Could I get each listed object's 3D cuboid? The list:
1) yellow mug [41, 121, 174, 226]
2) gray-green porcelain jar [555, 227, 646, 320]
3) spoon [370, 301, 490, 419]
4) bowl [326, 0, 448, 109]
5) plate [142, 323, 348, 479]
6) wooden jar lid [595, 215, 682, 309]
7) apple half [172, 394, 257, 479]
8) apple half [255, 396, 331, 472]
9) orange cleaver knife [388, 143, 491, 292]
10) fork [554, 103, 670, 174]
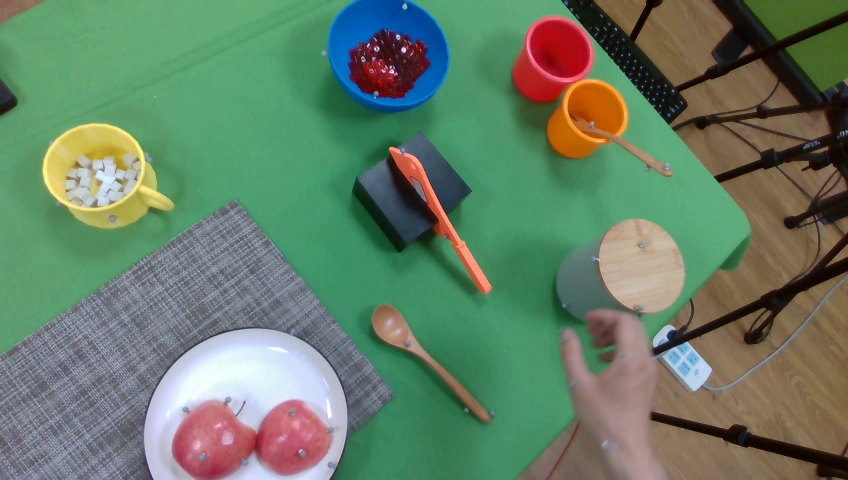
[{"bbox_3d":[-0.339,-0.066,0.668,0.131,0.064,0.099,23,72,-7],"label":"yellow mug"},{"bbox_3d":[0.227,0.042,0.743,0.106,0.126,0.105,3,75,-12],"label":"gray-green porcelain jar"},{"bbox_3d":[0.009,0.146,0.720,0.193,0.022,0.041,43,48,0],"label":"spoon"},{"bbox_3d":[-0.052,-0.225,0.768,0.152,0.077,0.150,3,76,-12],"label":"bowl"},{"bbox_3d":[-0.187,0.195,0.650,0.210,0.038,0.208,3,76,-13],"label":"plate"},{"bbox_3d":[0.239,0.026,0.684,0.109,0.021,0.108,3,77,-14],"label":"wooden jar lid"},{"bbox_3d":[-0.219,0.204,0.625,0.074,0.053,0.081,-42,89,-16],"label":"apple half"},{"bbox_3d":[-0.142,0.210,0.650,0.081,0.033,0.081,3,73,-10],"label":"apple half"},{"bbox_3d":[0.018,-0.026,0.733,0.012,0.076,0.213,-37,110,-15],"label":"orange cleaver knife"},{"bbox_3d":[0.236,-0.133,0.775,0.028,0.019,0.205,-20,38,-20],"label":"fork"}]
